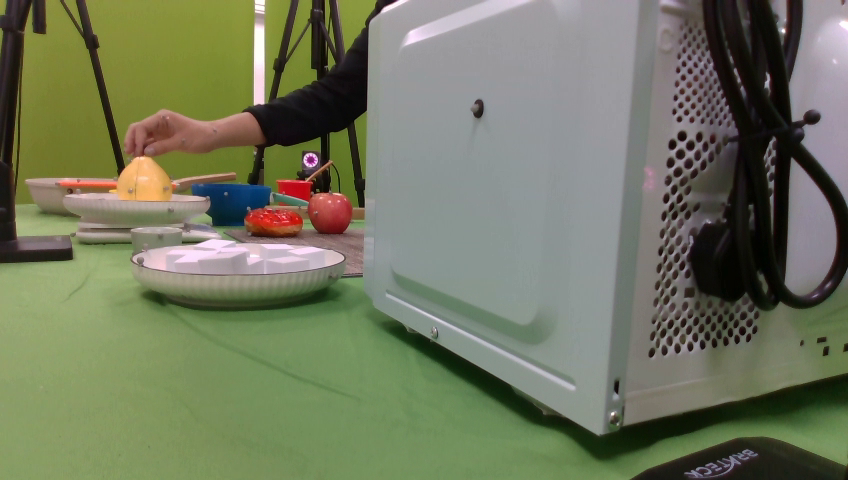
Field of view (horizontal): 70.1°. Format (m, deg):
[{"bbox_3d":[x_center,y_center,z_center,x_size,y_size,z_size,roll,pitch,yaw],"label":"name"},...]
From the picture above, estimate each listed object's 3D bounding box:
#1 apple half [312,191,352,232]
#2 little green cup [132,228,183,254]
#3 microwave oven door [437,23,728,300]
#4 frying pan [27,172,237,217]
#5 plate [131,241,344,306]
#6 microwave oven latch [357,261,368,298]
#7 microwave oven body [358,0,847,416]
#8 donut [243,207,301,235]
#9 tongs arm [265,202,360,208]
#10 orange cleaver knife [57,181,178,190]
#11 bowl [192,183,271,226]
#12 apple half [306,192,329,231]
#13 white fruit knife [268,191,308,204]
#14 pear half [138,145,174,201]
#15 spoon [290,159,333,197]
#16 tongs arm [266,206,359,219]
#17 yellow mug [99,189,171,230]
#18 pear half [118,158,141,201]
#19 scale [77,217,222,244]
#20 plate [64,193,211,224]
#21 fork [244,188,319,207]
[{"bbox_3d":[-0.160,-0.050,1.101,0.053,0.074,0.081,9,8,23],"label":"apple half"},{"bbox_3d":[-0.342,0.006,0.779,0.061,0.038,0.061,2,8,0],"label":"little green cup"},{"bbox_3d":[0.180,-0.072,0.621,0.358,0.243,0.039,-2,9,-29],"label":"microwave oven door"},{"bbox_3d":[-0.624,-0.118,1.387,0.305,0.102,0.490,8,17,32],"label":"frying pan"},{"bbox_3d":[-0.187,0.033,0.625,0.208,0.039,0.207,2,8,0],"label":"plate"},{"bbox_3d":[-0.019,0.033,0.530,0.079,0.029,0.030,-1,7,-26],"label":"microwave oven latch"},{"bbox_3d":[0.211,-0.047,0.474,0.444,0.260,0.324,-1,7,-28],"label":"microwave oven body"},{"bbox_3d":[-0.262,-0.032,1.043,0.099,0.048,0.099,4,9,0],"label":"donut"},{"bbox_3d":[-0.209,-0.072,1.438,0.389,0.027,0.028,1,1,-16],"label":"tongs arm"},{"bbox_3d":[-0.600,-0.109,1.189,0.212,0.012,0.077,-1,11,-26],"label":"orange cleaver knife"},{"bbox_3d":[-0.382,-0.070,1.202,0.151,0.077,0.151,3,7,0],"label":"bowl"},{"bbox_3d":[-0.197,-0.054,1.115,0.032,0.081,0.081,9,9,21],"label":"apple half"},{"bbox_3d":[-0.364,-0.105,1.464,0.208,0.027,0.016,15,0,-34],"label":"white fruit knife"},{"bbox_3d":[-0.423,-0.094,0.950,0.056,0.109,0.076,-1,9,-31],"label":"pear half"},{"bbox_3d":[-0.317,-0.159,1.640,0.194,0.022,0.041,-49,32,-20],"label":"spoon"},{"bbox_3d":[-0.173,-0.061,1.362,0.387,0.026,0.050,-1,6,-31],"label":"tongs arm"},{"bbox_3d":[-0.519,-0.055,1.080,0.099,0.064,0.131,7,9,26],"label":"yellow mug"},{"bbox_3d":[-0.455,-0.084,0.934,0.031,0.088,0.070,0,9,-32],"label":"pear half"},{"bbox_3d":[-0.434,-0.018,0.963,0.202,0.031,0.148,-1,8,-27],"label":"scale"},{"bbox_3d":[-0.446,-0.051,0.951,0.209,0.038,0.209,2,7,0],"label":"plate"},{"bbox_3d":[-0.356,-0.105,1.526,0.208,0.018,0.028,16,-5,-41],"label":"fork"}]
